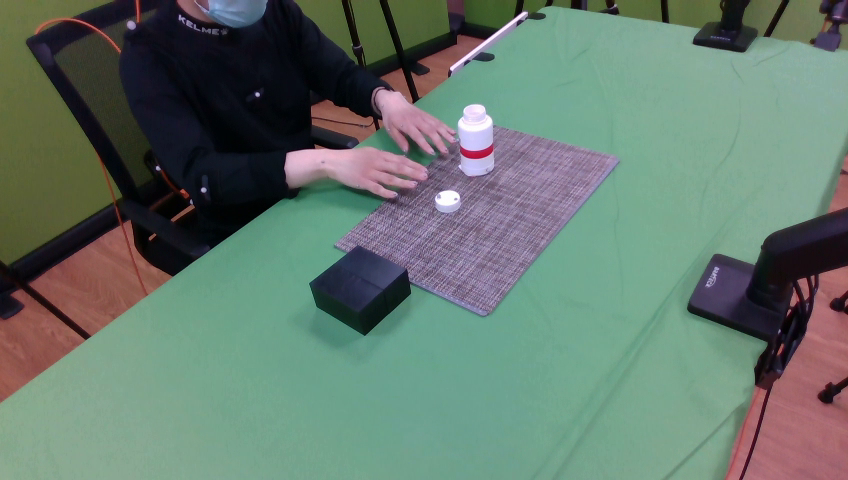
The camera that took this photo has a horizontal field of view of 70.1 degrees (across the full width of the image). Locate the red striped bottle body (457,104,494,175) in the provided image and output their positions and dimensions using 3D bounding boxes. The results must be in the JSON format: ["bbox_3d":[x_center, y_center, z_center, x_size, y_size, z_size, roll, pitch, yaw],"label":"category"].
[{"bbox_3d":[0.093,-0.182,1.085,0.063,0.120,0.062,-4,41,4],"label":"red striped bottle body"}]

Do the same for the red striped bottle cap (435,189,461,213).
[{"bbox_3d":[0.042,-0.068,1.040,0.044,0.018,0.044,-5,46,6],"label":"red striped bottle cap"}]
